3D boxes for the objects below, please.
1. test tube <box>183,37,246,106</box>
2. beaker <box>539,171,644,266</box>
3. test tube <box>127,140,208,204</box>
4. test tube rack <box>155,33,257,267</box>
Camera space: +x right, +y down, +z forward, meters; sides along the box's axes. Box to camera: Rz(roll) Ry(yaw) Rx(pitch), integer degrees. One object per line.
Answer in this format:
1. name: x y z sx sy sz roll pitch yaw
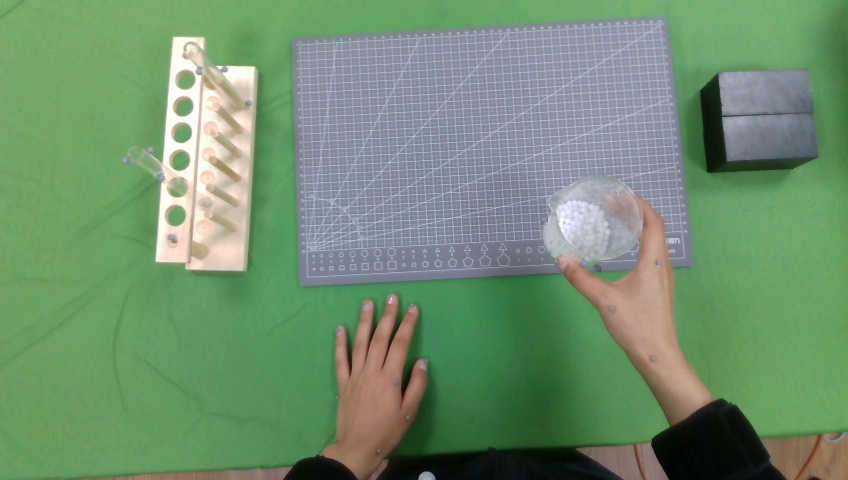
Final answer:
1. test tube: -0.217 -0.174 0.636 0.017 0.151 0.017 0 82 1
2. beaker: 0.147 -0.016 0.563 0.084 0.100 0.074 22 82 5
3. test tube: -0.257 -0.065 0.620 0.017 0.151 0.017 -1 76 4
4. test tube rack: -0.237 -0.095 0.672 0.067 0.085 0.241 1 83 2
